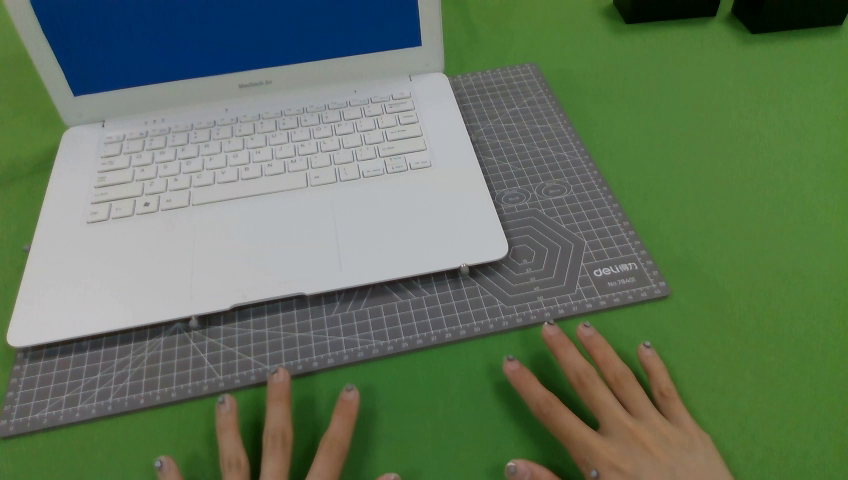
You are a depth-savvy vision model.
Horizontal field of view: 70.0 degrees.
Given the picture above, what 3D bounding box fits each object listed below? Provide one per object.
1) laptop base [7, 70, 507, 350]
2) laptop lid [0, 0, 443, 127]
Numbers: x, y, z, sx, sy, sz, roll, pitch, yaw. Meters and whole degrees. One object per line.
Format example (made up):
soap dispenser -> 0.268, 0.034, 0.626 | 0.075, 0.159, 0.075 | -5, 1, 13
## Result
laptop base -> -0.131, -0.040, 0.497 | 0.355, 0.023, 0.233 | -10, 53, -6
laptop lid -> -0.164, -0.219, 0.496 | 0.357, 0.244, 0.013 | -11, 40, -5
